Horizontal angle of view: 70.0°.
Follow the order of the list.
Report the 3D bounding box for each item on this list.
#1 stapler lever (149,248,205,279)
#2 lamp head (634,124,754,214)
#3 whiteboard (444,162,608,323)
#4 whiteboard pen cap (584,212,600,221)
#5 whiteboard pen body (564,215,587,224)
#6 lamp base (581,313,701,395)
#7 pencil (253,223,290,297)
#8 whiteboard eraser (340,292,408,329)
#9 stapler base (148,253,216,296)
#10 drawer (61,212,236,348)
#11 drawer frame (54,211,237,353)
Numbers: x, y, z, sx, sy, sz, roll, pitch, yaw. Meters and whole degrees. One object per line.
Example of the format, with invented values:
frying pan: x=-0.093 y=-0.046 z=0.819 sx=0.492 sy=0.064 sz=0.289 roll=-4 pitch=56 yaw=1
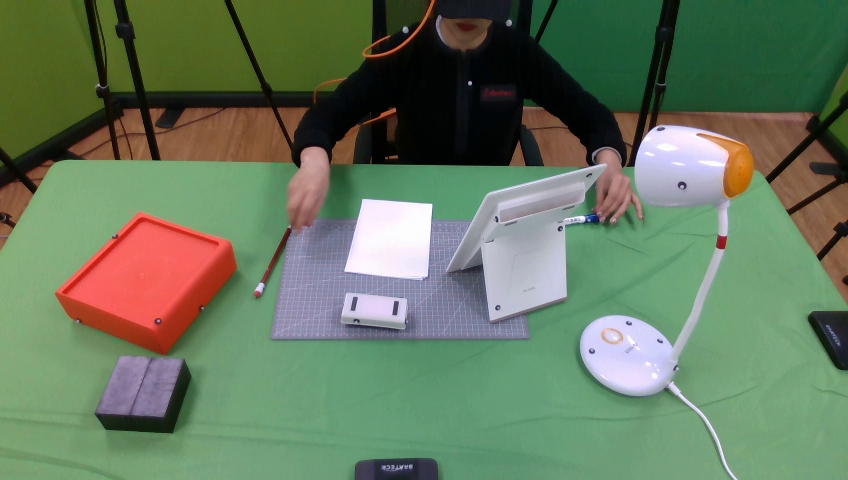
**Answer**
stapler lever: x=-0.443 y=0.038 z=1.083 sx=0.118 sy=0.040 sz=0.027 roll=19 pitch=50 yaw=17
lamp head: x=0.351 y=-0.089 z=0.775 sx=0.112 sy=0.113 sz=0.122 roll=-30 pitch=30 yaw=-28
whiteboard: x=0.186 y=0.026 z=1.028 sx=0.217 sy=0.306 sz=0.143 roll=-14 pitch=68 yaw=-18
whiteboard pen cap: x=0.351 y=-0.048 z=1.270 sx=0.033 sy=0.018 sz=0.018 roll=-7 pitch=47 yaw=-12
whiteboard pen body: x=0.291 y=-0.040 z=1.260 sx=0.141 sy=0.017 sz=0.017 roll=-6 pitch=47 yaw=-11
lamp base: x=0.361 y=0.144 z=0.973 sx=0.178 sy=0.181 sz=0.160 roll=34 pitch=53 yaw=23
pencil: x=-0.286 y=0.033 z=1.150 sx=0.012 sy=0.012 sz=0.193 roll=9 pitch=46 yaw=4
whiteboard eraser: x=-0.087 y=0.125 z=1.052 sx=0.113 sy=0.042 sz=0.055 roll=5 pitch=45 yaw=1
stapler base: x=-0.443 y=0.059 z=1.109 sx=0.130 sy=0.024 sz=0.041 roll=24 pitch=52 yaw=11
drawer: x=-0.473 y=0.064 z=1.060 sx=0.194 sy=0.073 sz=0.211 roll=18 pitch=48 yaw=11
drawer frame: x=-0.473 y=0.067 z=1.055 sx=0.201 sy=0.083 sz=0.212 roll=17 pitch=48 yaw=11
